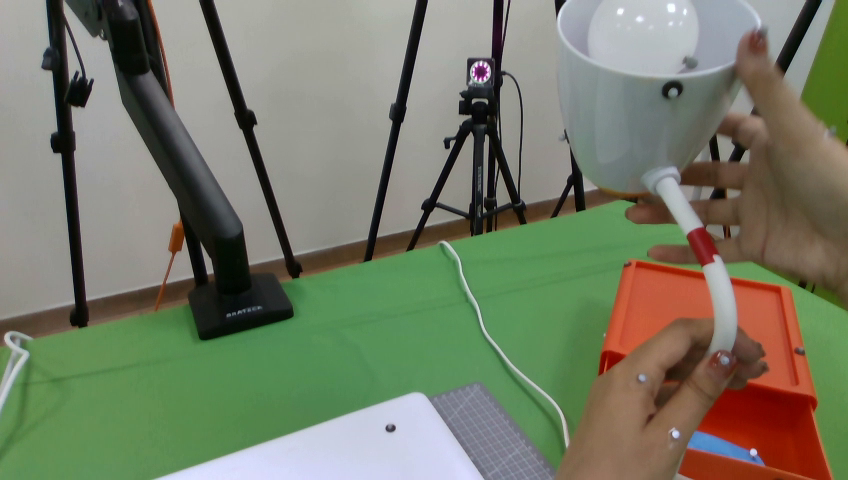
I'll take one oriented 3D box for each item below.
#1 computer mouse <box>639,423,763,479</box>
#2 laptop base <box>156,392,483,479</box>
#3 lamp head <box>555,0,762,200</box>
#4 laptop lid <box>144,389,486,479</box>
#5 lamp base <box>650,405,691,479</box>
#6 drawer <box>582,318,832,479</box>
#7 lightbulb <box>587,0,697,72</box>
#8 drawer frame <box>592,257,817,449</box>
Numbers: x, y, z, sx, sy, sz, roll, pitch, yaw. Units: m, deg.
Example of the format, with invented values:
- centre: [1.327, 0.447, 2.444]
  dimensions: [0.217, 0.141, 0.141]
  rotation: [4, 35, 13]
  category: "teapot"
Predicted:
- centre: [0.256, 0.205, 0.557]
  dimensions: [0.117, 0.041, 0.062]
  rotation: [10, 29, 11]
  category: "computer mouse"
- centre: [-0.110, 0.254, 0.494]
  dimensions: [0.355, 0.023, 0.233]
  rotation: [-13, 34, -24]
  category: "laptop base"
- centre: [0.137, -0.086, 0.380]
  dimensions: [0.112, 0.124, 0.111]
  rotation: [-5, 44, 5]
  category: "lamp head"
- centre: [-0.109, 0.245, 0.486]
  dimensions: [0.358, 0.013, 0.239]
  rotation: [-12, 33, -22]
  category: "laptop lid"
- centre: [0.161, 0.213, 0.397]
  dimensions: [0.161, 0.181, 0.178]
  rotation: [1, 26, -1]
  category: "lamp base"
- centre: [0.272, 0.165, 0.603]
  dimensions: [0.193, 0.074, 0.211]
  rotation: [9, 28, 18]
  category: "drawer"
- centre: [0.129, -0.104, 0.364]
  dimensions: [0.059, 0.109, 0.059]
  rotation: [-7, 53, 9]
  category: "lightbulb"
- centre: [0.312, 0.114, 0.694]
  dimensions: [0.201, 0.083, 0.213]
  rotation: [10, 29, 19]
  category: "drawer frame"
